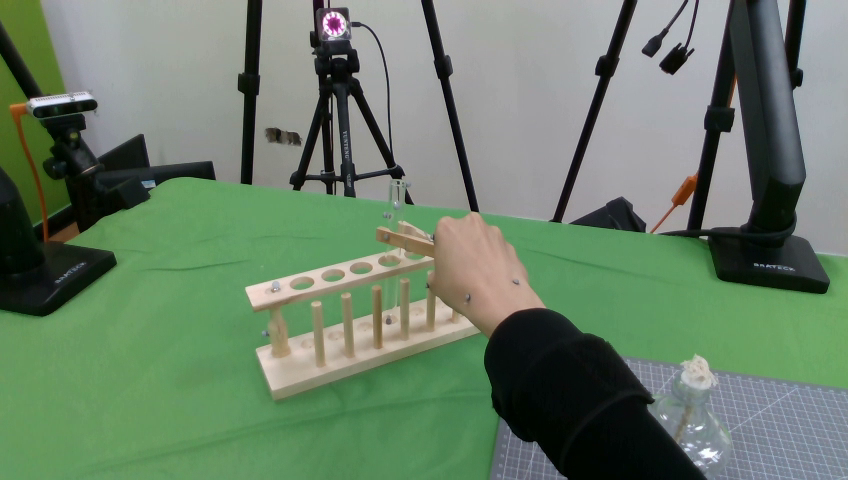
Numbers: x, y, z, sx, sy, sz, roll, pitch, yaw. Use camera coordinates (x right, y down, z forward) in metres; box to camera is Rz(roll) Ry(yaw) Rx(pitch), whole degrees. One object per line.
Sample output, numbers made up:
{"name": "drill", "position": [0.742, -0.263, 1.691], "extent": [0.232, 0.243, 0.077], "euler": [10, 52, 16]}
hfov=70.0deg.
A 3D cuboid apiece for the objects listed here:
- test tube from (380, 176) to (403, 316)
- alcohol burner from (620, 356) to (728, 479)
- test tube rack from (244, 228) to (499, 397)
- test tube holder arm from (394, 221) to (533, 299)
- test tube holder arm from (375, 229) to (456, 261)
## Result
{"name": "test tube", "position": [-0.033, 0.010, 0.593], "extent": [0.017, 0.151, 0.017], "euler": [4, 26, -2]}
{"name": "alcohol burner", "position": [0.188, 0.131, 0.450], "extent": [0.078, 0.120, 0.077], "euler": [1, 32, 0]}
{"name": "test tube rack", "position": [-0.043, 0.065, 0.598], "extent": [0.243, 0.086, 0.066], "euler": [-14, 34, -23]}
{"name": "test tube holder arm", "position": [0.028, 0.014, 0.534], "extent": [0.013, 0.015, 0.176], "euler": [-22, 31, -34]}
{"name": "test tube holder arm", "position": [-0.007, 0.004, 0.558], "extent": [0.087, 0.015, 0.010], "euler": [12, 28, 29]}
